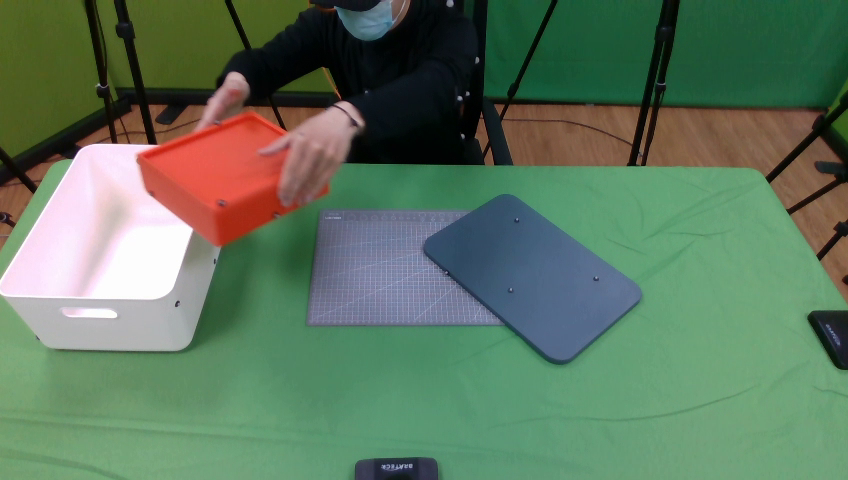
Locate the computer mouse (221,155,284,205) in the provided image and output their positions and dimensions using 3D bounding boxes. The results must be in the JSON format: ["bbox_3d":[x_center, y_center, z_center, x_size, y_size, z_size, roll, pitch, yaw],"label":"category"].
[{"bbox_3d":[-0.284,-0.106,0.997,0.063,0.041,0.116,-35,51,-27],"label":"computer mouse"}]

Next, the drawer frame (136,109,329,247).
[{"bbox_3d":[-0.294,-0.106,0.955,0.201,0.083,0.213,32,47,26],"label":"drawer frame"}]

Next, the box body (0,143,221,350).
[{"bbox_3d":[-0.502,0.007,1.055,0.254,0.161,0.361,1,46,-3],"label":"box body"}]

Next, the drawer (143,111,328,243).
[{"bbox_3d":[-0.293,-0.106,0.960,0.193,0.073,0.211,33,48,26],"label":"drawer"}]

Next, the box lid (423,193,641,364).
[{"bbox_3d":[0.202,0.054,1.168,0.263,0.015,0.369,-31,56,-30],"label":"box lid"}]
